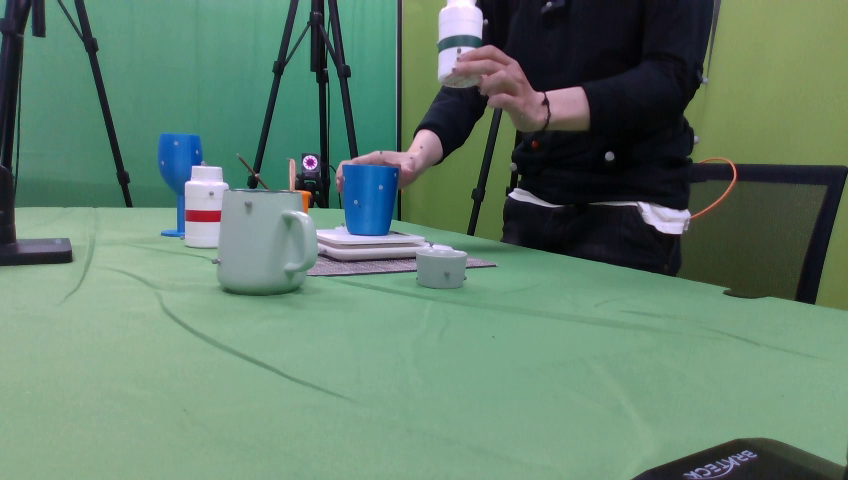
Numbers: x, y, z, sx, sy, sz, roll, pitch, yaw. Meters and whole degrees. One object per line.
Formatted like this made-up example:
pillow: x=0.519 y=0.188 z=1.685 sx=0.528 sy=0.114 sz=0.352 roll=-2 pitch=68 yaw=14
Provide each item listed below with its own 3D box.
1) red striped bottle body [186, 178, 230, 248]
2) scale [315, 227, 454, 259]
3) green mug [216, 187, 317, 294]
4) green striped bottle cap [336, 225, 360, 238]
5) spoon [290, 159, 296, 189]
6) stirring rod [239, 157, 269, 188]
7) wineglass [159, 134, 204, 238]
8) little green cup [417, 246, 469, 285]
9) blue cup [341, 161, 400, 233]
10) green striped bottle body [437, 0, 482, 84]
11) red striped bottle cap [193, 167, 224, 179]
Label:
red striped bottle body: x=-0.331 y=-0.050 z=0.927 sx=0.063 sy=0.119 sz=0.063 roll=2 pitch=6 yaw=0
scale: x=-0.066 y=0.001 z=0.906 sx=0.202 sy=0.031 sz=0.148 roll=-2 pitch=8 yaw=-31
green mug: x=-0.157 y=0.000 z=0.629 sx=0.124 sy=0.105 sz=0.093 roll=7 pitch=9 yaw=37
green striped bottle cap: x=-0.138 y=-0.015 z=1.093 sx=0.044 sy=0.020 sz=0.044 roll=0 pitch=11 yaw=0
spoon: x=-0.273 y=-0.102 z=1.252 sx=0.042 sy=0.193 sz=0.021 roll=7 pitch=-38 yaw=-17
stirring rod: x=-0.309 y=-0.098 z=1.209 sx=0.006 sy=0.177 sz=0.014 roll=-38 pitch=29 yaw=-3
wineglass: x=-0.415 y=-0.093 z=1.040 sx=0.074 sy=0.172 sz=0.073 roll=2 pitch=7 yaw=0
little green cup: x=0.021 y=0.029 z=0.701 sx=0.061 sy=0.038 sz=0.061 roll=1 pitch=6 yaw=0
blue cup: x=-0.081 y=-0.062 z=0.884 sx=0.093 sy=0.100 sz=0.092 roll=3 pitch=5 yaw=0
green striped bottle body: x=0.050 y=-0.287 z=0.853 sx=0.063 sy=0.119 sz=0.063 roll=0 pitch=-3 yaw=0
red striped bottle cap: x=-0.329 y=-0.103 z=0.921 sx=0.044 sy=0.017 sz=0.044 roll=0 pitch=9 yaw=0
